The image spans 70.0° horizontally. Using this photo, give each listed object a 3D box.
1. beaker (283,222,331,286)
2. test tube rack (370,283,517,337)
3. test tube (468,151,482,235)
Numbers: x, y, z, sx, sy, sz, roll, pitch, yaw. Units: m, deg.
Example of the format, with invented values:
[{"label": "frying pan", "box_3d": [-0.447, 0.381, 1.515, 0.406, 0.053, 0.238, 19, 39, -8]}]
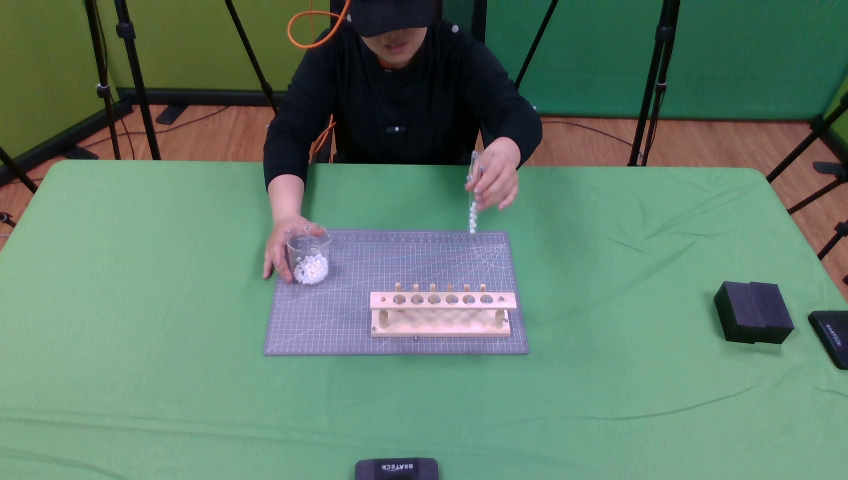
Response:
[{"label": "beaker", "box_3d": [-0.208, 0.028, 1.098, 0.084, 0.101, 0.073, 2, 46, -4]}, {"label": "test tube rack", "box_3d": [0.030, 0.116, 1.042, 0.242, 0.085, 0.066, 1, 46, -4]}, {"label": "test tube", "box_3d": [0.079, -0.070, 0.945, 0.017, 0.151, 0.017, 0, 37, 0]}]
